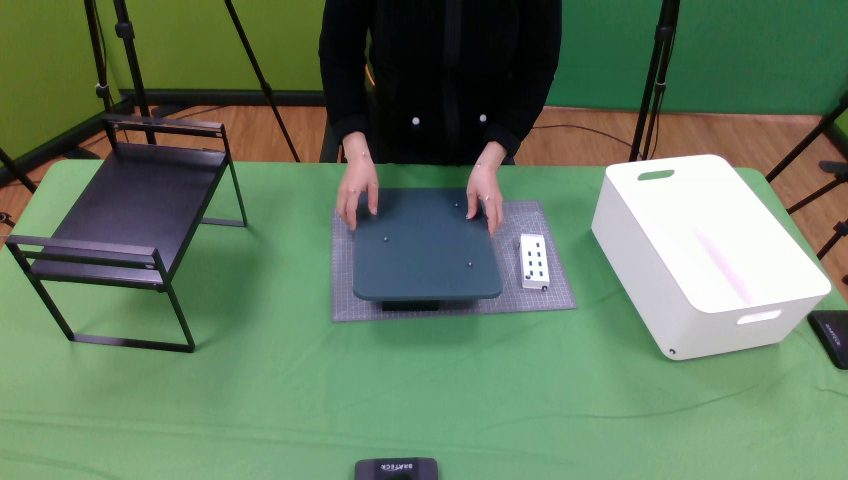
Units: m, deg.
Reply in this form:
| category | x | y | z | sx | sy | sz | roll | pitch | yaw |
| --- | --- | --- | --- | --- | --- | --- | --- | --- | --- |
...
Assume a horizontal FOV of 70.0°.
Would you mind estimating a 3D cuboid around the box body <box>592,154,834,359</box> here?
| category | x | y | z | sx | sy | sz | roll | pitch | yaw |
| --- | --- | --- | --- | --- | --- | --- | --- | --- | --- |
| box body | 0.496 | 0.023 | 1.112 | 0.254 | 0.161 | 0.361 | -8 | 47 | -10 |

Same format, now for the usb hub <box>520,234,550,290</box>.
| category | x | y | z | sx | sy | sz | roll | pitch | yaw |
| --- | --- | --- | --- | --- | --- | --- | --- | --- | --- |
| usb hub | 0.212 | 0.040 | 1.168 | 0.049 | 0.025 | 0.124 | 4 | 45 | 1 |

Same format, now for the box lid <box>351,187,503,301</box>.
| category | x | y | z | sx | sy | sz | roll | pitch | yaw |
| --- | --- | --- | --- | --- | --- | --- | --- | --- | --- |
| box lid | -0.002 | -0.007 | 1.162 | 0.263 | 0.015 | 0.369 | 0 | 35 | -4 |
